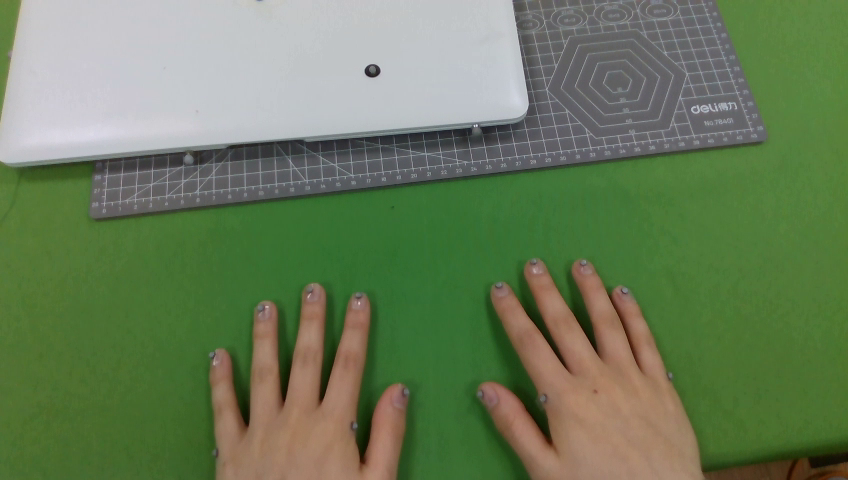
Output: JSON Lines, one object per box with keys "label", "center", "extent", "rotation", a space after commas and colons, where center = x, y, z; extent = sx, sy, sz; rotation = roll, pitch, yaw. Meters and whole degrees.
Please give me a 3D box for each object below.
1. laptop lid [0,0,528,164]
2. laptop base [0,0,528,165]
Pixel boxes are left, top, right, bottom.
{"label": "laptop lid", "center": [-0.115, -0.173, 0.433], "extent": [0.357, 0.013, 0.240], "rotation": [-4, 70, 0]}
{"label": "laptop base", "center": [-0.115, -0.171, 0.445], "extent": [0.354, 0.023, 0.234], "rotation": [-5, 72, -1]}
